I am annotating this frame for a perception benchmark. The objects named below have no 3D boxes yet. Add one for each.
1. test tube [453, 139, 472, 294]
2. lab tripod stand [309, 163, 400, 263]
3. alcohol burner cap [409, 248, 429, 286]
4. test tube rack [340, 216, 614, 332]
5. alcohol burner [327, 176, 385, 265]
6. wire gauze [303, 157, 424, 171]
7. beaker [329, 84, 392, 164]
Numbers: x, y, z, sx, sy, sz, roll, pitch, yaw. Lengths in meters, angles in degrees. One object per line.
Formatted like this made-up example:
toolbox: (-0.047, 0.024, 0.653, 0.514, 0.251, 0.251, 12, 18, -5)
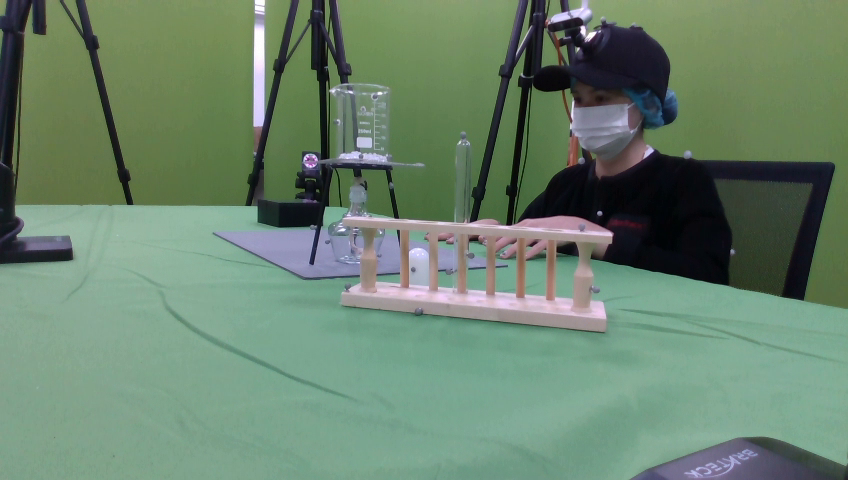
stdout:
test tube: (0.037, -0.021, 0.584, 0.017, 0.150, 0.017, 1, 7, 0)
lab tripod stand: (-0.091, -0.037, 0.813, 0.148, 0.131, 0.148, 1, 6, 0)
alcohol burner cap: (-0.008, 0.032, 0.674, 0.034, 0.048, 0.034, 3, 6, 0)
test tube rack: (0.048, 0.026, 0.568, 0.242, 0.085, 0.067, 4, 8, 13)
alcohol burner: (-0.090, -0.027, 0.811, 0.078, 0.119, 0.078, 3, 5, 0)
wire gauze: (-0.082, -0.101, 0.799, 0.126, 0.011, 0.121, 1, 7, -30)
beaker: (-0.084, -0.149, 0.794, 0.084, 0.100, 0.073, -1, 6, -23)
